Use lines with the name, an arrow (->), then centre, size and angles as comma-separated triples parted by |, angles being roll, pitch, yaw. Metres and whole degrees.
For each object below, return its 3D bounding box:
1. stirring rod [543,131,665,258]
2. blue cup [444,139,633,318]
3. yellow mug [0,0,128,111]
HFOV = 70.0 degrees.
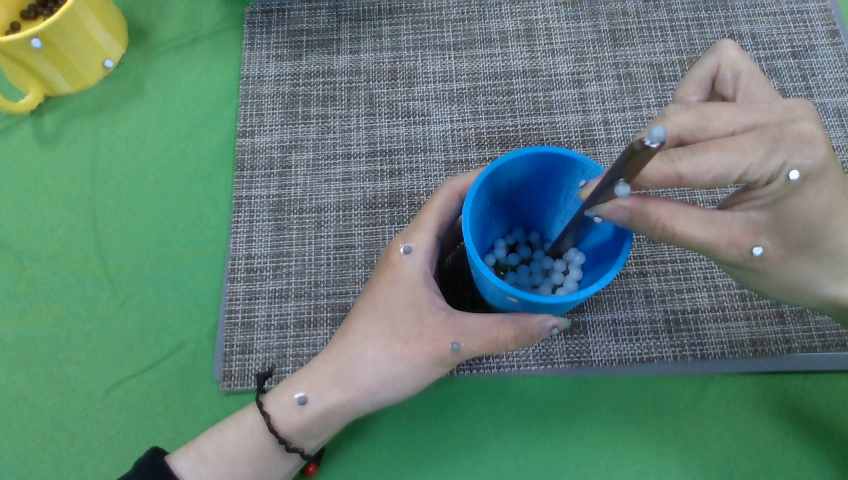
stirring rod -> 0.082, -0.014, 0.302 | 0.014, 0.177, 0.006 | -22, 76, -5
blue cup -> 0.063, 0.005, 0.346 | 0.092, 0.101, 0.092 | -1, 71, 3
yellow mug -> -0.287, -0.156, 0.442 | 0.100, 0.064, 0.130 | 8, 71, 5
